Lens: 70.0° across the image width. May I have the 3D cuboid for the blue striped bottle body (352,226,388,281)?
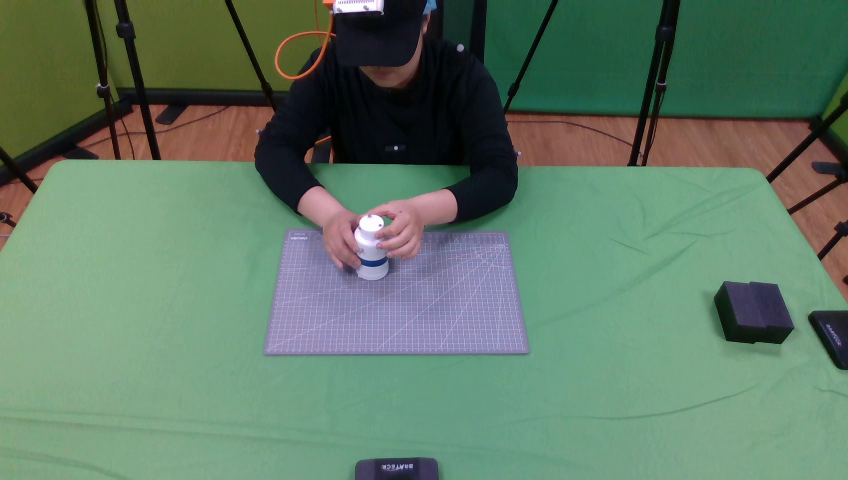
[{"bbox_3d":[-0.098,0.013,1.106,0.063,0.121,0.062,1,45,-1],"label":"blue striped bottle body"}]

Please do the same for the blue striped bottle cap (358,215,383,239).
[{"bbox_3d":[-0.094,-0.024,1.067,0.044,0.021,0.044,3,44,-2],"label":"blue striped bottle cap"}]
